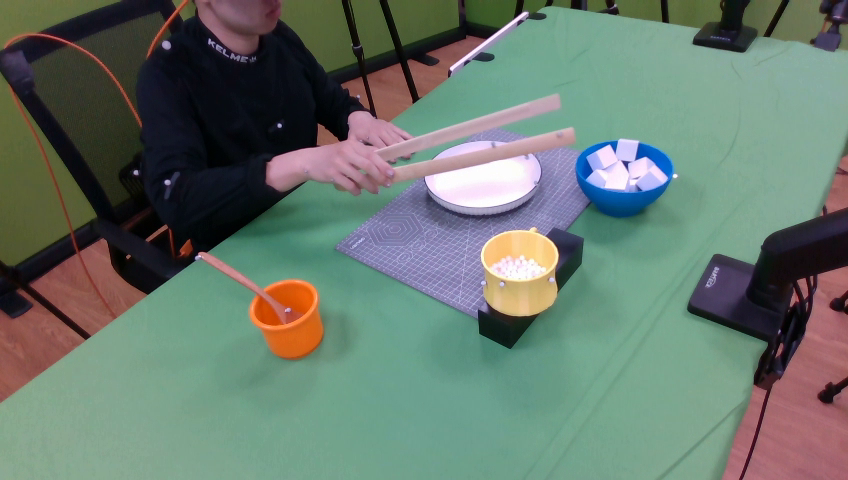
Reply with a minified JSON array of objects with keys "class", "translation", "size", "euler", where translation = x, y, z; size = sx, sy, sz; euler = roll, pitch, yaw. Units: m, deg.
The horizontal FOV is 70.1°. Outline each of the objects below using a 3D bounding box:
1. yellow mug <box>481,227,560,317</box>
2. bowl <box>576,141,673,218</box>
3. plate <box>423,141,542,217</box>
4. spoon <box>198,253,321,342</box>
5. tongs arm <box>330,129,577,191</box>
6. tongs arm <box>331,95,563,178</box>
[{"class":"yellow mug","translation":[0.132,0.032,0.801],"size":[0.099,0.064,0.131],"euler":[11,43,20]},{"class":"bowl","translation":[0.321,-0.089,0.984],"size":[0.151,0.077,0.150],"euler":[-4,40,4]},{"class":"plate","translation":[0.103,-0.103,1.059],"size":[0.207,0.039,0.206],"euler":[-4,40,4]},{"class":"spoon","translation":[-0.220,0.075,0.814],"size":[0.021,0.194,0.041],"euler":[-36,19,39]},{"class":"tongs arm","translation":[0.036,-0.124,0.923],"size":[0.384,0.027,0.050],"euler":[-12,38,11]},{"class":"tongs arm","translation":[0.037,-0.164,0.977],"size":[0.387,0.028,0.028],"euler":[-17,41,4]}]
